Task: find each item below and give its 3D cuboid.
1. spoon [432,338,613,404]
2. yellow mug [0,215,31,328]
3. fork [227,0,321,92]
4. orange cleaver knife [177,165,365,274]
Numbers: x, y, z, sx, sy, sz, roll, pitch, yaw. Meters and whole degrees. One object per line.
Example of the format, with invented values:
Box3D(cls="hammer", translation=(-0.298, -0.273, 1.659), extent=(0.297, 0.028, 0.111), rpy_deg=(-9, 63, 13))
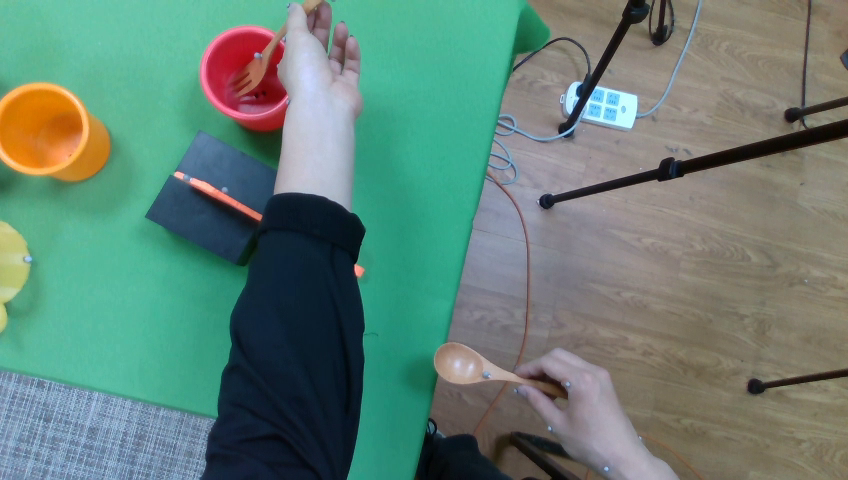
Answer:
Box3D(cls="spoon", translation=(0.102, 0.141, 0.622), extent=(0.194, 0.022, 0.041), rpy_deg=(15, 62, 2))
Box3D(cls="yellow mug", translation=(-0.456, 0.030, 0.604), extent=(0.100, 0.064, 0.131), rpy_deg=(-27, 90, -7))
Box3D(cls="fork", translation=(-0.138, -0.205, 0.597), extent=(0.019, 0.207, 0.028), rpy_deg=(-3, 72, -46))
Box3D(cls="orange cleaver knife", translation=(-0.155, -0.019, 0.630), extent=(0.213, 0.076, 0.012), rpy_deg=(33, 83, -32))
